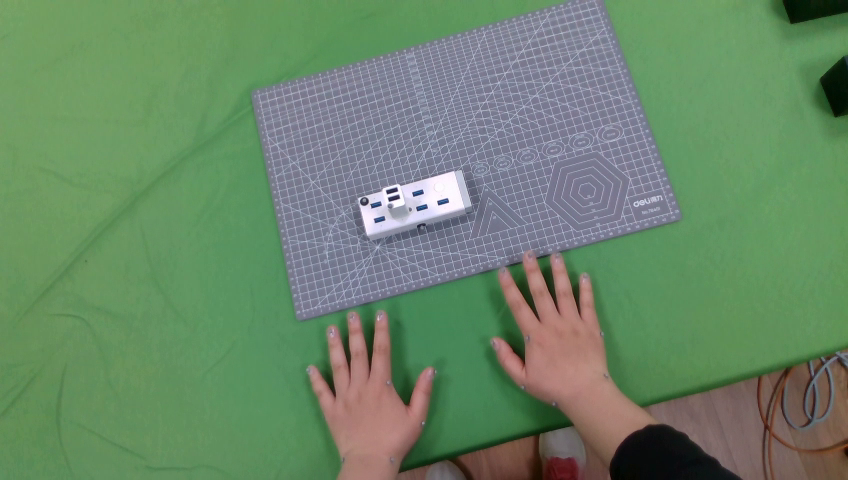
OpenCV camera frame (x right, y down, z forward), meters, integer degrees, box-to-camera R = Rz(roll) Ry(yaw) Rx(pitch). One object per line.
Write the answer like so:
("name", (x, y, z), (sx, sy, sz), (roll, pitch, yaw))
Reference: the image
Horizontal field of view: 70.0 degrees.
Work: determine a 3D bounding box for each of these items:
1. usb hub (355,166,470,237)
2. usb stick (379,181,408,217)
("usb hub", (-0.014, -0.045, 0.696), (0.125, 0.025, 0.049), (-15, 76, 2))
("usb stick", (-0.033, -0.043, 0.668), (0.021, 0.059, 0.027), (-19, 73, 2))
